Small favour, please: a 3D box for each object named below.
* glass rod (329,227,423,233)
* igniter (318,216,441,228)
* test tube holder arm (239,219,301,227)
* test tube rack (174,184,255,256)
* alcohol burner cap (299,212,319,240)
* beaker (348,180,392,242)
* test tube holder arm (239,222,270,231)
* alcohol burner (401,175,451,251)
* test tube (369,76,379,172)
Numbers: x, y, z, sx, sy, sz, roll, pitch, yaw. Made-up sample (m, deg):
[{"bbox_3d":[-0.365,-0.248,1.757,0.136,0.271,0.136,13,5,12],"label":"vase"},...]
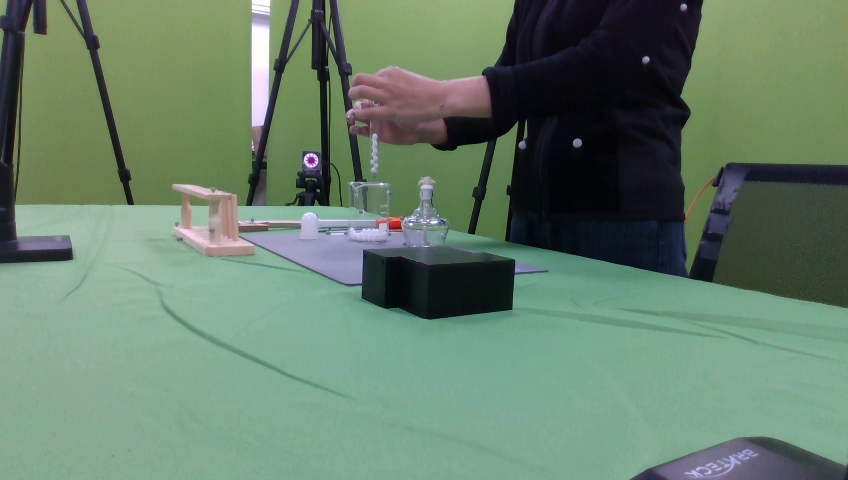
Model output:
[{"bbox_3d":[-0.087,-0.019,1.148,0.201,0.008,0.008,-2,8,-32],"label":"glass rod"},{"bbox_3d":[-0.090,-0.035,1.223,0.278,0.025,0.057,-2,-2,-31],"label":"igniter"},{"bbox_3d":[-0.296,-0.030,1.138,0.179,0.015,0.013,-6,45,-50],"label":"test tube holder arm"},{"bbox_3d":[-0.327,-0.036,0.928,0.067,0.085,0.241,-2,9,-32],"label":"test tube rack"},{"bbox_3d":[-0.195,-0.025,1.025,0.034,0.048,0.034,3,7,0],"label":"alcohol burner cap"},{"bbox_3d":[-0.095,-0.049,1.027,0.074,0.100,0.084,5,9,25],"label":"beaker"},{"bbox_3d":[-0.322,-0.024,1.100,0.088,0.015,0.010,-4,44,-49],"label":"test tube holder arm"},{"bbox_3d":[0.003,-0.042,0.947,0.078,0.119,0.078,1,9,0],"label":"alcohol burner"},{"bbox_3d":[-0.079,-0.184,0.962,0.017,0.150,0.017,1,12,0],"label":"test tube"}]
